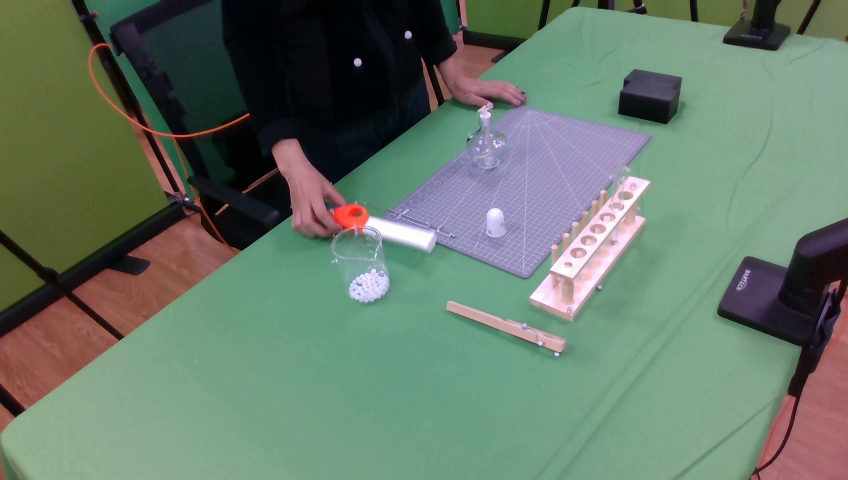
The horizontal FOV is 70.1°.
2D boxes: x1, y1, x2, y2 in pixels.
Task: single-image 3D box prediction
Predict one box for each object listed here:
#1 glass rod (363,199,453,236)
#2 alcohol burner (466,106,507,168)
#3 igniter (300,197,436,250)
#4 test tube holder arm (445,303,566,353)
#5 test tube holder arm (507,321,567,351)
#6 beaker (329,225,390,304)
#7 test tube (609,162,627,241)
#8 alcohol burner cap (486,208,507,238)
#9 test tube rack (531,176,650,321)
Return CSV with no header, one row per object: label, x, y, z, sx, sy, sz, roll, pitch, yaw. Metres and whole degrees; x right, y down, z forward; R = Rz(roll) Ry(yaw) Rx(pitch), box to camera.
glass rod,-0.031,-0.041,1.041,0.198,0.008,0.008,22,50,31
alcohol burner,0.114,-0.193,1.112,0.078,0.119,0.077,-4,41,4
igniter,-0.102,-0.030,1.010,0.274,0.025,0.057,15,61,29
test tube holder arm,0.107,0.117,0.824,0.177,0.015,0.013,16,11,27
test tube holder arm,0.148,0.128,0.808,0.087,0.015,0.010,16,11,28
beaker,-0.089,0.040,0.890,0.074,0.101,0.083,-32,45,-24
test tube,0.277,-0.051,0.864,0.017,0.151,0.017,-6,47,7
alcohol burner cap,0.116,-0.030,0.975,0.034,0.048,0.033,-6,40,5
test tube rack,0.246,0.002,0.884,0.066,0.085,0.243,22,49,32
